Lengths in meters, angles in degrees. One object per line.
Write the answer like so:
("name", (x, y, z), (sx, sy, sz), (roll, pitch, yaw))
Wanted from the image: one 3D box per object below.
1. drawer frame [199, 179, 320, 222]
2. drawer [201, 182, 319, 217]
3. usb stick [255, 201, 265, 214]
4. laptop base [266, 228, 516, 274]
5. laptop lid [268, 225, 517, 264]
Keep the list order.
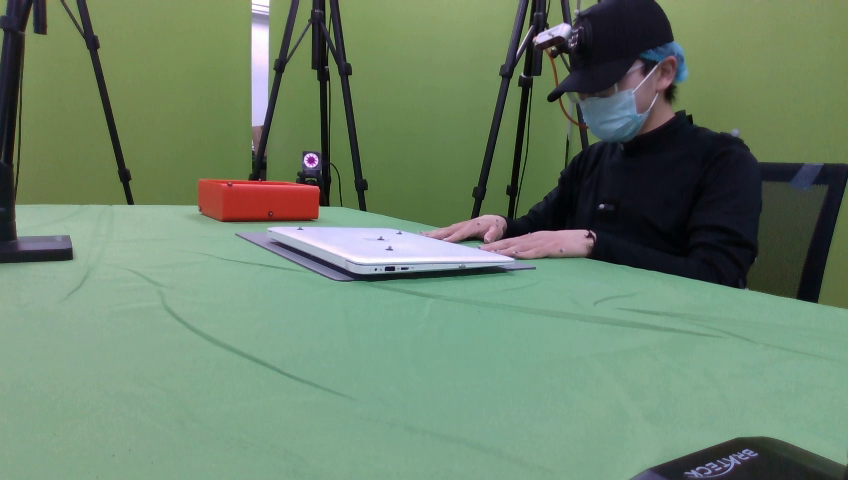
("drawer frame", (-0.370, -0.093, 1.356), (0.215, 0.082, 0.200), (-4, 10, -34))
("drawer", (-0.369, -0.092, 1.358), (0.213, 0.073, 0.193), (-3, 10, -34))
("usb stick", (-0.368, -0.074, 1.360), (0.021, 0.027, 0.059), (1, 8, -16))
("laptop base", (-0.066, 0.014, 0.877), (0.237, 0.023, 0.352), (2, 6, -32))
("laptop lid", (-0.063, 0.002, 0.877), (0.243, 0.013, 0.355), (1, 7, -30))
